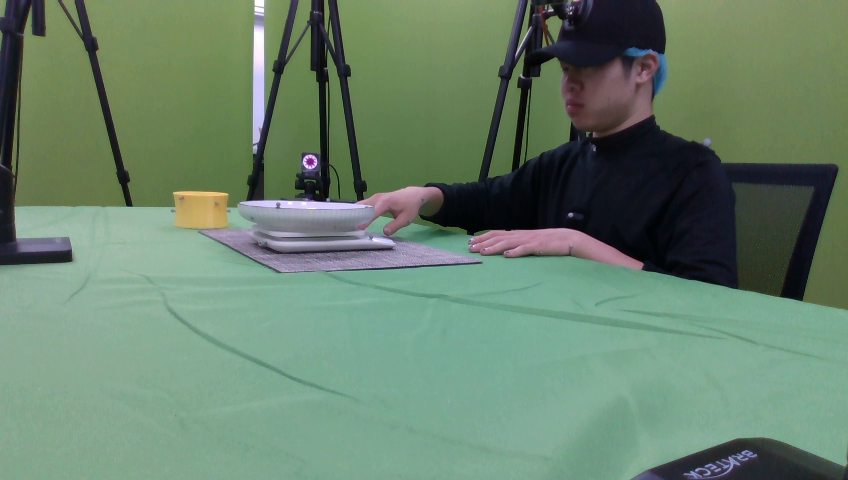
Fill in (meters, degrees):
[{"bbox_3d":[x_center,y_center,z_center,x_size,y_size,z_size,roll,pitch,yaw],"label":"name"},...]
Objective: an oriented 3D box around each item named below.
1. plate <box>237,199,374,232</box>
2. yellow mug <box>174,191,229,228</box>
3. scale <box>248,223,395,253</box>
[{"bbox_3d":[-0.183,-0.039,0.941,0.209,0.038,0.209,3,7,0],"label":"plate"},{"bbox_3d":[-0.427,-0.063,1.189,0.100,0.064,0.131,5,7,14],"label":"yellow mug"},{"bbox_3d":[-0.162,-0.006,0.954,0.202,0.031,0.148,-1,8,-32],"label":"scale"}]
